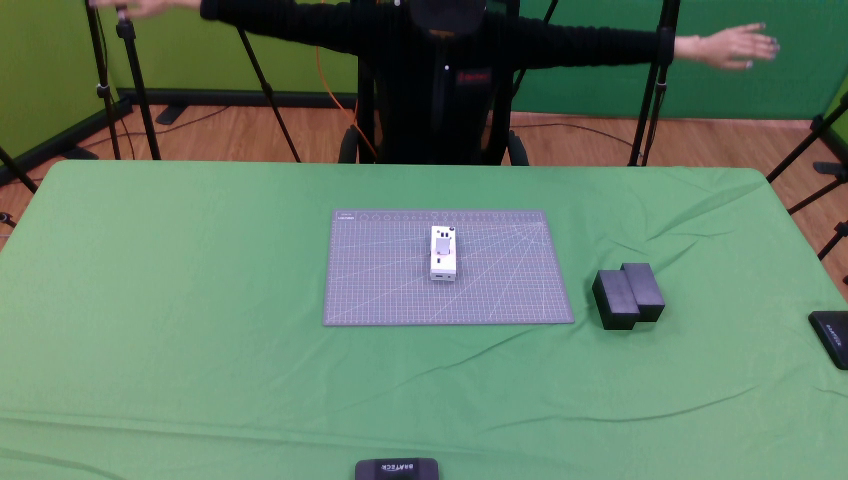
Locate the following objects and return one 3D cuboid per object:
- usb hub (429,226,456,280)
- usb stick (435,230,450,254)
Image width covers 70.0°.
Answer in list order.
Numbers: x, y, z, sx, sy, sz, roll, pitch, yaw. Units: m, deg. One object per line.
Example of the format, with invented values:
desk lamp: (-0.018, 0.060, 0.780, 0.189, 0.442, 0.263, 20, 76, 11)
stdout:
usb hub: (0.037, 0.024, 1.173, 0.049, 0.025, 0.124, 3, 46, -2)
usb stick: (0.034, 0.009, 1.146, 0.027, 0.059, 0.021, 3, 46, -4)
